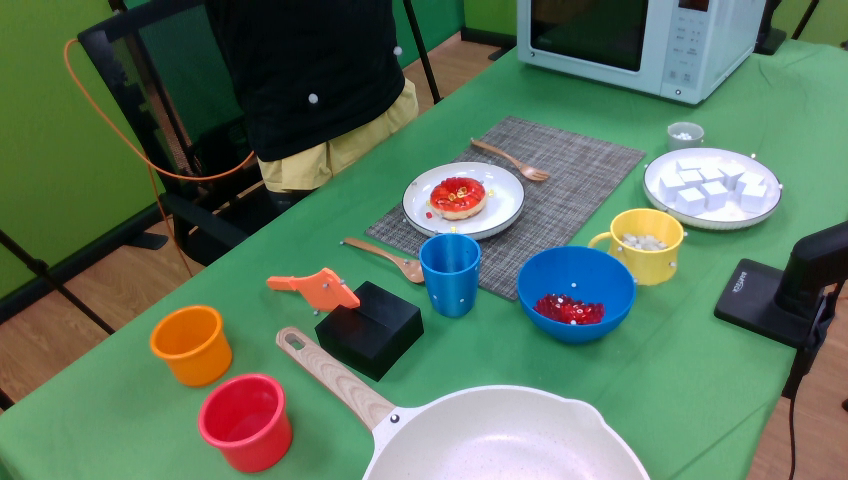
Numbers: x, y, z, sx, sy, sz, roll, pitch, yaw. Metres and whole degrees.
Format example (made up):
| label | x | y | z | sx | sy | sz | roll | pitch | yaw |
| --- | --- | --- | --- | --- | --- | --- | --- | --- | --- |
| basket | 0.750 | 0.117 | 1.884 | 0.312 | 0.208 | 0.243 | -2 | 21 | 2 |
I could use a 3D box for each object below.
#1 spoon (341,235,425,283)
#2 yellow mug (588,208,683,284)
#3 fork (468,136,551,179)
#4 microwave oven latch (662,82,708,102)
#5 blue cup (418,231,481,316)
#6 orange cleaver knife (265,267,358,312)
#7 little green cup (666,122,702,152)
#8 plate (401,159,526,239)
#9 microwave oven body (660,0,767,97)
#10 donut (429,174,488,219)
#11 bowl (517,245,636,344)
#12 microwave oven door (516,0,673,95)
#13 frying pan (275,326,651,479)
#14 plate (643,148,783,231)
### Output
| label | x | y | z | sx | sy | sz | roll | pitch | yaw |
| --- | --- | --- | --- | --- | --- | --- | --- | --- | --- |
| spoon | -0.061 | 0.023 | 0.953 | 0.192 | 0.022 | 0.041 | 24 | 70 | 30 |
| yellow mug | 0.305 | 0.009 | 0.884 | 0.131 | 0.064 | 0.099 | -4 | 40 | 5 |
| fork | 0.153 | -0.156 | 1.126 | 0.028 | 0.019 | 0.205 | -39 | 51 | -18 |
| microwave oven latch | 0.518 | -0.298 | 1.203 | 0.078 | 0.029 | 0.030 | 28 | 53 | 35 |
| blue cup | 0.040 | 0.053 | 0.843 | 0.092 | 0.100 | 0.092 | -4 | 43 | 4 |
| orange cleaver knife | -0.164 | 0.073 | 0.864 | 0.210 | 0.077 | 0.012 | -6 | 31 | 50 |
| little green cup | 0.472 | -0.183 | 1.102 | 0.061 | 0.039 | 0.061 | -5 | 41 | 5 |
| plate | 0.067 | -0.065 | 1.019 | 0.209 | 0.038 | 0.208 | -4 | 40 | 4 |
| microwave oven body | 0.473 | -0.516 | 1.314 | 0.438 | 0.261 | 0.327 | 26 | 51 | 34 |
| donut | 0.058 | -0.075 | 1.015 | 0.099 | 0.048 | 0.098 | -6 | 38 | 5 |
| bowl | 0.200 | 0.084 | 0.803 | 0.151 | 0.077 | 0.150 | -4 | 40 | 4 |
| microwave oven door | 0.344 | -0.458 | 1.256 | 0.353 | 0.245 | 0.039 | 26 | 51 | 33 |
| frying pan | 0.004 | 0.229 | 0.641 | 0.484 | 0.103 | 0.308 | 34 | 54 | 28 |
| plate | 0.464 | -0.080 | 0.986 | 0.207 | 0.039 | 0.206 | -4 | 41 | 4 |
